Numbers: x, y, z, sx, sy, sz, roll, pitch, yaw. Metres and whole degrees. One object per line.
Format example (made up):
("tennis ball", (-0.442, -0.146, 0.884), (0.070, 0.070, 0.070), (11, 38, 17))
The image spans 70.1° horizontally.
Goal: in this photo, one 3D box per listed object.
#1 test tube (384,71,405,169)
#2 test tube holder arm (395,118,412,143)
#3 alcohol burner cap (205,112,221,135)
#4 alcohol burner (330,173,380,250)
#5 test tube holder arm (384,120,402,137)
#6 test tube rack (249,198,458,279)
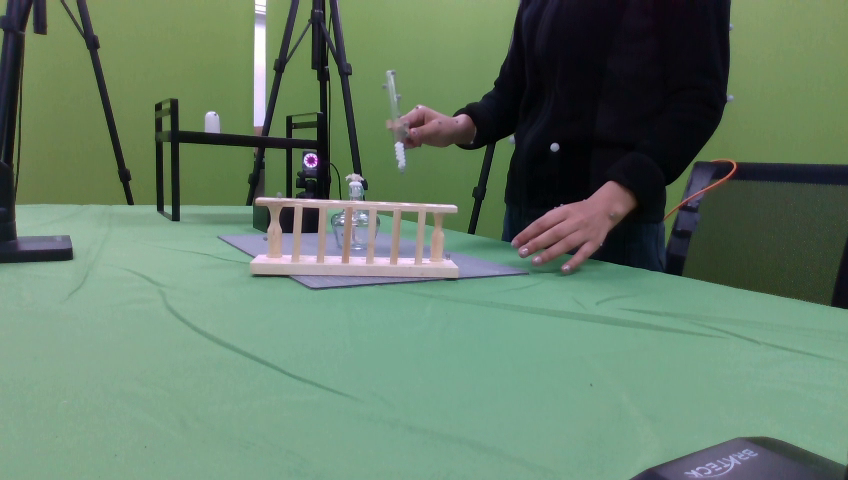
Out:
("test tube", (-0.045, -0.183, 0.928), (0.017, 0.150, 0.017), (-7, 2, 1))
("test tube holder arm", (-0.033, -0.177, 0.995), (0.013, 0.015, 0.178), (-11, 1, 6))
("alcohol burner cap", (-0.443, -0.245, 1.270), (0.034, 0.048, 0.034), (3, 8, 0))
("alcohol burner", (-0.107, -0.044, 0.938), (0.078, 0.119, 0.078), (1, 6, 0))
("test tube holder arm", (-0.045, -0.175, 0.952), (0.010, 0.015, 0.088), (-11, 1, 14))
("test tube rack", (-0.082, -0.002, 0.732), (0.243, 0.085, 0.066), (2, 8, -8))
